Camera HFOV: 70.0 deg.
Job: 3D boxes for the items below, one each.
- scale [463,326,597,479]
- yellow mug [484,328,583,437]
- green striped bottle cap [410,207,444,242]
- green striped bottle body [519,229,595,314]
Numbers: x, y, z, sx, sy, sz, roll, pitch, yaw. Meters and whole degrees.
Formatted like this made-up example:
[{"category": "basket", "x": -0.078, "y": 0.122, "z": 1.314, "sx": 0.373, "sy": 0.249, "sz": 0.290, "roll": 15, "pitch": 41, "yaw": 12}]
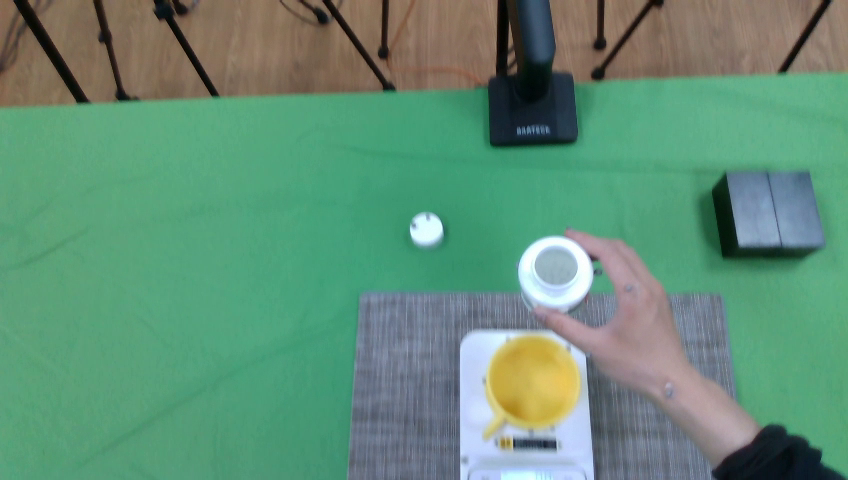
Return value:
[{"category": "scale", "x": 0.120, "y": 0.198, "z": 0.701, "sx": 0.148, "sy": 0.032, "sz": 0.199, "roll": -1, "pitch": 71, "yaw": 5}, {"category": "yellow mug", "x": 0.109, "y": 0.163, "z": 0.663, "sx": 0.099, "sy": 0.064, "sz": 0.130, "roll": 39, "pitch": 79, "yaw": 15}, {"category": "green striped bottle cap", "x": 0.004, "y": -0.020, "z": 0.800, "sx": 0.044, "sy": 0.020, "sz": 0.044, "roll": -1, "pitch": 74, "yaw": 5}, {"category": "green striped bottle body", "x": 0.118, "y": 0.029, "z": 0.543, "sx": 0.063, "sy": 0.120, "sz": 0.063, "roll": -2, "pitch": 76, "yaw": 10}]
